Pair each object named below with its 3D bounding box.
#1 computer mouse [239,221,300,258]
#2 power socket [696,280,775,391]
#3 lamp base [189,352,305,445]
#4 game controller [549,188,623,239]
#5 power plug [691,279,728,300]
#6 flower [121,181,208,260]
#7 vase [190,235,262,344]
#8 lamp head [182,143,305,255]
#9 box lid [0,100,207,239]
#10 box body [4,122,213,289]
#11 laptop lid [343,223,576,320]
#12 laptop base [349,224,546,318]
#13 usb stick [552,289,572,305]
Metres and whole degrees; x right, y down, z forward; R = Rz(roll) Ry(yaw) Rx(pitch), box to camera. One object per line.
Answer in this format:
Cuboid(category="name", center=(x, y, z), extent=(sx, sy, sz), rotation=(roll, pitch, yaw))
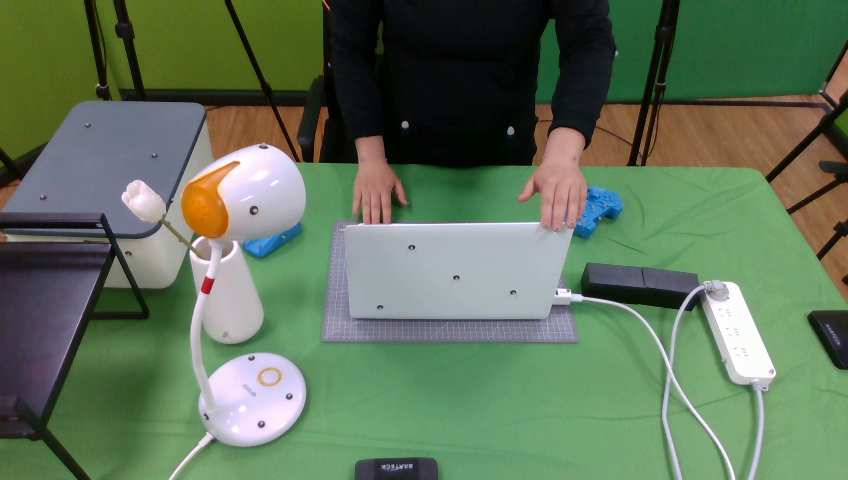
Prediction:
Cuboid(category="computer mouse", center=(-0.300, -0.016, 1.178), extent=(0.062, 0.041, 0.117), rotation=(35, 58, 23))
Cuboid(category="power socket", center=(0.550, 0.160, 1.078), extent=(0.072, 0.033, 0.225), rotation=(3, 47, -1))
Cuboid(category="lamp base", center=(-0.268, 0.196, 0.876), extent=(0.160, 0.181, 0.179), rotation=(25, 52, 19))
Cuboid(category="game controller", center=(0.345, -0.065, 1.272), extent=(0.155, 0.052, 0.096), rotation=(-31, 58, -29))
Cuboid(category="power plug", center=(0.522, 0.091, 1.116), extent=(0.072, 0.053, 0.035), rotation=(10, 48, 9))
Cuboid(category="flower", center=(-0.329, 0.029, 0.905), extent=(0.038, 0.364, 0.044), rotation=(-22, 58, -1))
Cuboid(category="vase", center=(-0.317, 0.081, 0.971), extent=(0.098, 0.201, 0.097), rotation=(3, 47, -3))
Cuboid(category="lamp head", center=(-0.216, -0.044, 0.697), extent=(0.112, 0.113, 0.123), rotation=(23, 31, 17))
Cuboid(category="box lid", center=(-0.559, -0.138, 1.085), extent=(0.263, 0.015, 0.369), rotation=(2, 46, -2))
Cuboid(category="box body", center=(-0.563, -0.088, 1.140), extent=(0.254, 0.161, 0.361), rotation=(2, 46, -3))
Cuboid(category="laptop lid", center=(0.051, 0.057, 0.981), extent=(0.357, 0.243, 0.013), rotation=(1, 46, -5))
Cuboid(category="laptop base", center=(0.040, 0.056, 1.149), extent=(0.355, 0.023, 0.234), rotation=(1, 42, -4))
Cuboid(category="usb stick", center=(0.236, 0.103, 1.101), extent=(0.059, 0.027, 0.021), rotation=(-1, 47, 1))
